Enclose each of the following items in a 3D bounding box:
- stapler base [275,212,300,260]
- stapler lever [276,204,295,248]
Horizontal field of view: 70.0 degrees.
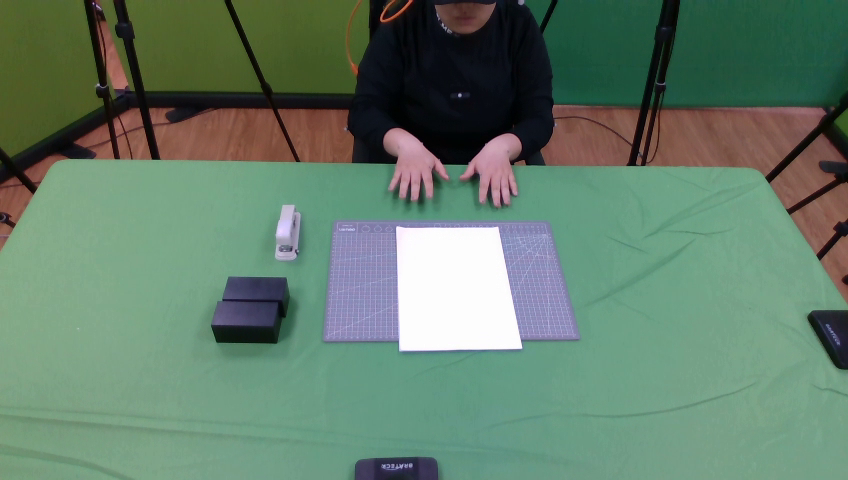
[{"bbox_3d":[-0.269,-0.016,1.190,0.041,0.024,0.129,0,44,-7],"label":"stapler base"},{"bbox_3d":[-0.268,-0.034,1.174,0.027,0.040,0.117,0,45,-7],"label":"stapler lever"}]
